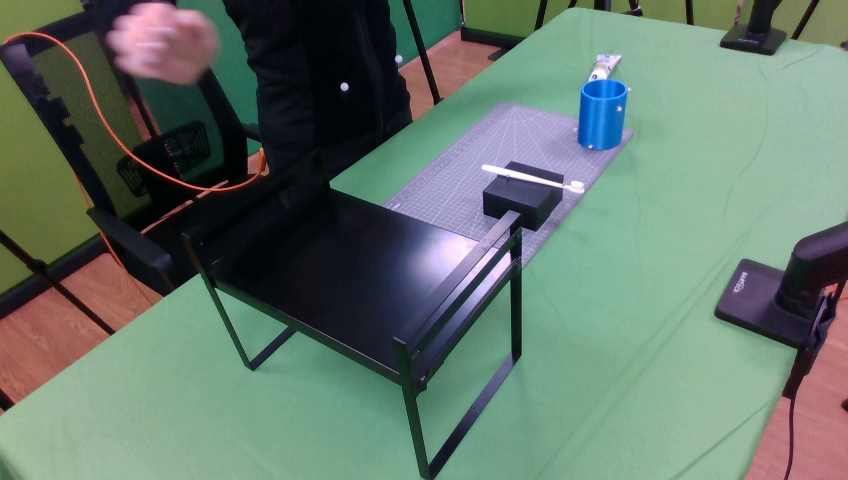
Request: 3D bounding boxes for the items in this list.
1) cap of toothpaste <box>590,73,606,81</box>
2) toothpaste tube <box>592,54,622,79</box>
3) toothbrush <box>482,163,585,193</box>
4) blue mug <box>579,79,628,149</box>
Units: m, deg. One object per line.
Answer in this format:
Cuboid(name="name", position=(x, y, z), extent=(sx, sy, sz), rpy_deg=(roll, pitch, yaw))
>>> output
Cuboid(name="cap of toothpaste", position=(0.377, -0.345, 1.308), extent=(0.037, 0.037, 0.011), rpy_deg=(10, 40, 19))
Cuboid(name="toothpaste tube", position=(0.409, -0.390, 1.364), extent=(0.055, 0.034, 0.165), rpy_deg=(13, 41, 17))
Cuboid(name="toothbrush", position=(0.178, -0.105, 0.997), extent=(0.180, 0.017, 0.014), rpy_deg=(17, 51, 26))
Cuboid(name="blue mug", position=(0.336, -0.246, 1.143), extent=(0.082, 0.106, 0.116), rpy_deg=(0, 41, 10))
